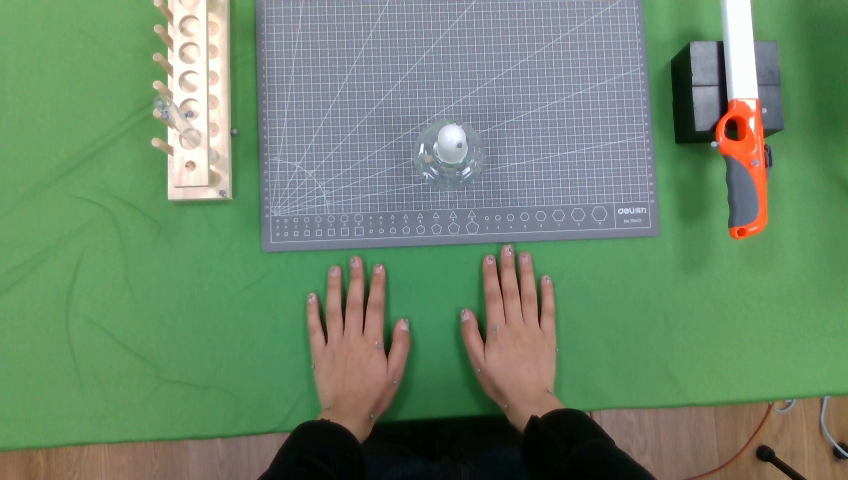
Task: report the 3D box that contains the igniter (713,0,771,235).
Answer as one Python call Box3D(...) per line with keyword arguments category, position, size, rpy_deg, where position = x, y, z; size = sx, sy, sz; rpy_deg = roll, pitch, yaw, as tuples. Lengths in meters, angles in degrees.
Box3D(category="igniter", position=(0.339, -0.143, 0.649), size=(0.057, 0.025, 0.276), rpy_deg=(0, 84, 1))

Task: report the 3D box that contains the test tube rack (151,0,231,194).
Box3D(category="test tube rack", position=(-0.252, -0.176, 0.646), size=(0.067, 0.085, 0.242), rpy_deg=(-2, 86, -2))

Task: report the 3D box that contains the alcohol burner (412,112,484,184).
Box3D(category="alcohol burner", position=(0.026, -0.099, 0.634), size=(0.078, 0.119, 0.078), rpy_deg=(0, 87, -1))

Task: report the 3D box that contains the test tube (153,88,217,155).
Box3D(category="test tube", position=(-0.230, -0.112, 0.593), size=(0.017, 0.150, 0.017), rpy_deg=(1, 80, -3))

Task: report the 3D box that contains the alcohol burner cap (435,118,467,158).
Box3D(category="alcohol burner cap", position=(0.027, -0.104, 0.598), size=(0.034, 0.048, 0.033), rpy_deg=(0, 80, 1))
